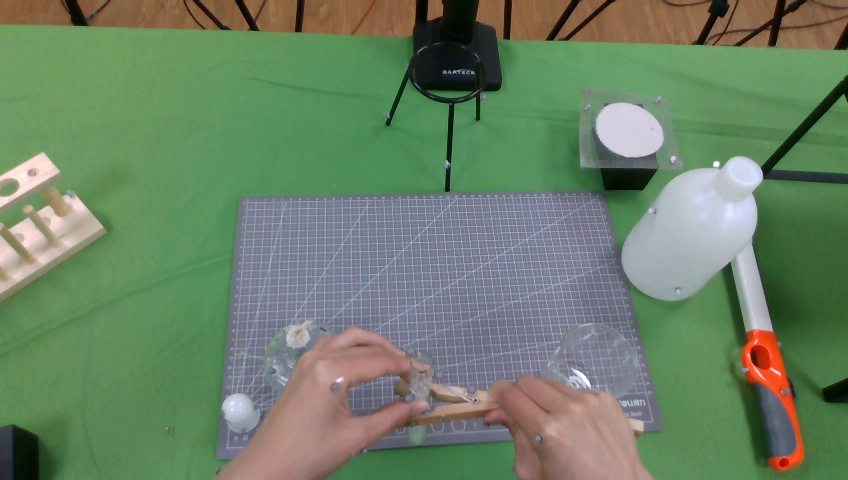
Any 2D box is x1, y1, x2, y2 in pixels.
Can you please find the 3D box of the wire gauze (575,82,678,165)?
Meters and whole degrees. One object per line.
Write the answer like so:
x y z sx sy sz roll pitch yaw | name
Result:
0.248 -0.144 0.755 0.121 0.011 0.124 5 61 -2 | wire gauze

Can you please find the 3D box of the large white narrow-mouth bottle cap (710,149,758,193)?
0.289 -0.065 0.567 0.038 0.024 0.037 2 62 -4 | large white narrow-mouth bottle cap

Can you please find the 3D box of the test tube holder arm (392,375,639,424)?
0.065 0.116 0.440 0.178 0.015 0.013 6 58 3 | test tube holder arm

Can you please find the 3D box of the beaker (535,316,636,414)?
0.152 0.129 0.601 0.084 0.101 0.073 -5 62 -7 | beaker

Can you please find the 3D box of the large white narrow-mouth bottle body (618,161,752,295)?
0.283 -0.022 0.643 0.102 0.196 0.101 2 61 -3 | large white narrow-mouth bottle body

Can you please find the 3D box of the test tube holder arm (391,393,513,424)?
0.021 0.120 0.437 0.088 0.015 0.010 -8 57 -6 | test tube holder arm

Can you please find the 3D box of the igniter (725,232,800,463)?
0.372 0.107 0.678 0.057 0.025 0.274 10 61 -12 | igniter

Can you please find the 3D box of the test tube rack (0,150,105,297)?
-0.465 0.018 0.611 0.066 0.086 0.242 43 66 16 | test tube rack

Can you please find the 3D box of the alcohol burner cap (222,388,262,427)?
-0.178 0.160 0.585 0.034 0.048 0.033 2 63 -3 | alcohol burner cap

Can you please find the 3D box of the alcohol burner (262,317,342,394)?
-0.118 0.104 0.580 0.078 0.120 0.077 3 60 -5 | alcohol burner

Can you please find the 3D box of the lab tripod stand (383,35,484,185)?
0.020 -0.162 0.727 0.148 0.132 0.147 3 63 -6 | lab tripod stand

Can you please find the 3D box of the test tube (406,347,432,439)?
-0.005 0.118 0.446 0.017 0.151 0.017 1 54 -1 | test tube
